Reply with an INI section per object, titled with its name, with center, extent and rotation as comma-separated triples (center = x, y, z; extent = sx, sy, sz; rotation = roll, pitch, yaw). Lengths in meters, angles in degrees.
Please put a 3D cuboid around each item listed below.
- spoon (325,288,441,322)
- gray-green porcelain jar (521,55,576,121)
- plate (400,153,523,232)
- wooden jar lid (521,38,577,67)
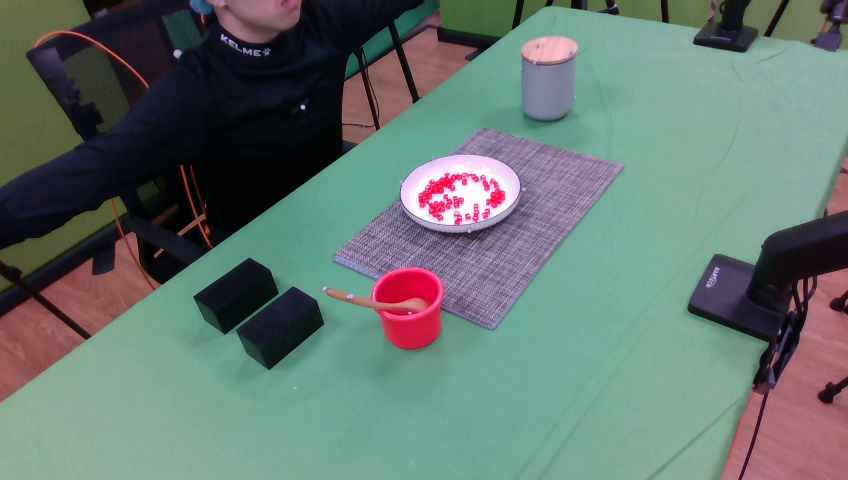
[spoon]
center = -0.047, 0.084, 0.776
extent = 0.195, 0.021, 0.041
rotation = 13, 26, -42
[gray-green porcelain jar]
center = 0.249, -0.313, 1.219
extent = 0.106, 0.127, 0.105
rotation = -4, 41, 4
[plate]
center = 0.065, -0.078, 1.034
extent = 0.207, 0.039, 0.206
rotation = -4, 40, 4
[wooden jar lid]
center = 0.243, -0.362, 1.177
extent = 0.108, 0.021, 0.108
rotation = -5, 43, 5
